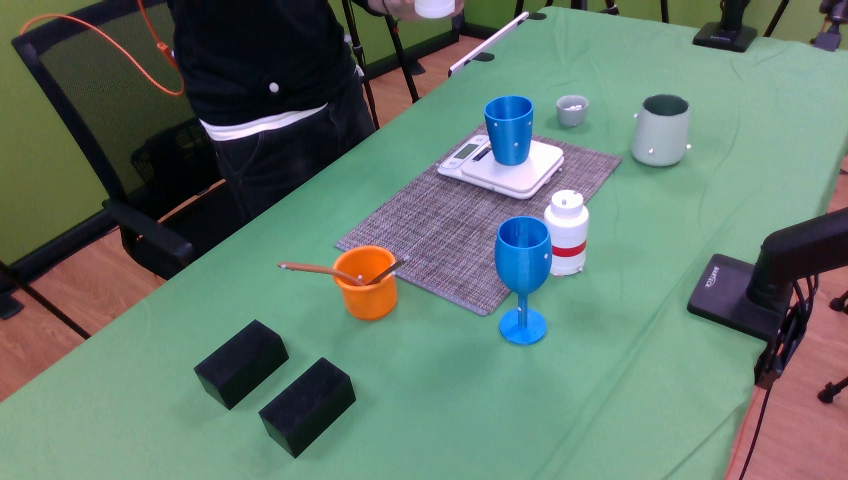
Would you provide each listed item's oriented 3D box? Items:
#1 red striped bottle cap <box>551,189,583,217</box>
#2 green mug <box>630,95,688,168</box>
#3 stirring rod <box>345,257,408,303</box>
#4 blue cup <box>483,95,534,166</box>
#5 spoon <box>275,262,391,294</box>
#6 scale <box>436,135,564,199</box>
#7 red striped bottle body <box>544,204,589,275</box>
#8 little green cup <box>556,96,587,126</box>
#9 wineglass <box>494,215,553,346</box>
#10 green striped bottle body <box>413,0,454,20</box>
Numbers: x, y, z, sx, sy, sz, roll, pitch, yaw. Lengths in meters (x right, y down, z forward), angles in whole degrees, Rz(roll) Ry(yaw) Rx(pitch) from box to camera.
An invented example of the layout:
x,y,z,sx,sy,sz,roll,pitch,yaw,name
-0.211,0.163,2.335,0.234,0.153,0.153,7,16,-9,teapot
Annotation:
x,y,z,sx,sy,sz,roll,pitch,yaw,name
0.200,-0.052,0.843,0.044,0.018,0.044,-2,42,2,red striped bottle cap
0.421,-0.201,1.081,0.092,0.105,0.125,5,42,15,green mug
-0.067,0.057,0.815,0.014,0.175,0.006,-24,82,-38,stirring rod
0.150,-0.187,1.051,0.092,0.101,0.092,-6,41,6,blue cup
-0.120,0.050,0.830,0.041,0.195,0.021,31,97,45,spoon
0.137,-0.142,1.101,0.199,0.032,0.149,22,48,30,scale
0.206,-0.011,0.877,0.063,0.120,0.062,-5,41,5,red striped bottle body
0.295,-0.258,1.214,0.061,0.039,0.061,-4,42,4,little green cup
0.126,0.055,0.770,0.074,0.173,0.073,-4,40,4,wineglass
0.011,-0.394,0.890,0.063,0.120,0.063,-3,48,3,green striped bottle body
